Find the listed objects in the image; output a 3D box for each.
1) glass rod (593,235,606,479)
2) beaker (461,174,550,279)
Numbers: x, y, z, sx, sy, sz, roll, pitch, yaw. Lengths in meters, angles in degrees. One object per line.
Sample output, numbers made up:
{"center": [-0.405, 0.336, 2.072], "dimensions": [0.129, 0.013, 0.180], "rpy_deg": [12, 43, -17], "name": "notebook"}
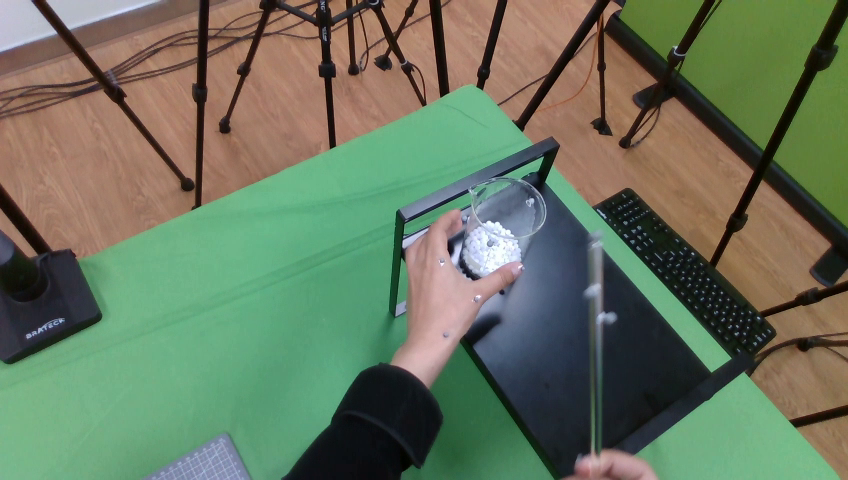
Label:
{"center": [0.109, 0.091, 0.377], "dimensions": [0.008, 0.201, 0.008], "rpy_deg": [-5, 20, 2], "name": "glass rod"}
{"center": [0.077, -0.011, 0.629], "dimensions": [0.083, 0.101, 0.074], "rpy_deg": [31, 61, 13], "name": "beaker"}
